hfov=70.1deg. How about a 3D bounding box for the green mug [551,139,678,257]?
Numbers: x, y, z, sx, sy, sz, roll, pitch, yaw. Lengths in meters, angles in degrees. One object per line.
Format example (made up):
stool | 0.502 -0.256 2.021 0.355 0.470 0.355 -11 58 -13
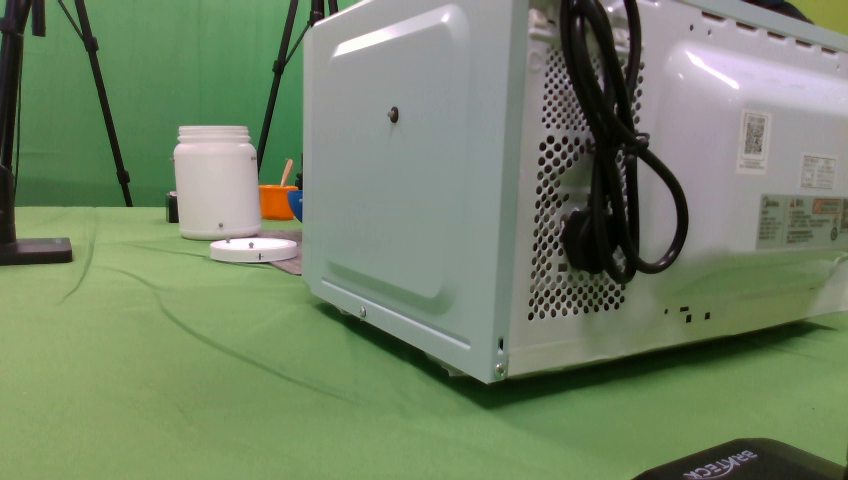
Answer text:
green mug | 0.178 -0.037 0.582 0.124 0.105 0.093 0 0 43

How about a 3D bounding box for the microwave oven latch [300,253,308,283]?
microwave oven latch | -0.083 0.026 0.590 0.030 0.029 0.079 9 9 42

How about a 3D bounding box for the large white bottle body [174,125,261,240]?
large white bottle body | -0.349 -0.100 1.025 0.131 0.184 0.130 -1 9 0

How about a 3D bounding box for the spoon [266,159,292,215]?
spoon | -0.334 -0.127 1.423 0.041 0.193 0.022 0 -37 7

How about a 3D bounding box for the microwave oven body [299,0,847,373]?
microwave oven body | 0.152 -0.056 0.542 0.444 0.260 0.324 -2 7 -32

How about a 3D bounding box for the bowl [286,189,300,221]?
bowl | -0.179 -0.051 1.115 0.151 0.077 0.151 3 8 0

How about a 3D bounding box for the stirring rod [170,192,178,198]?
stirring rod | -0.465 -0.098 1.283 0.014 0.006 0.177 42 21 17

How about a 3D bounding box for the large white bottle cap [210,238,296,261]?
large white bottle cap | -0.236 0.012 0.839 0.115 0.018 0.115 2 7 0

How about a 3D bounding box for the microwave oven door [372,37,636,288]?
microwave oven door | 0.110 -0.080 0.686 0.358 0.243 0.039 -2 9 -33
